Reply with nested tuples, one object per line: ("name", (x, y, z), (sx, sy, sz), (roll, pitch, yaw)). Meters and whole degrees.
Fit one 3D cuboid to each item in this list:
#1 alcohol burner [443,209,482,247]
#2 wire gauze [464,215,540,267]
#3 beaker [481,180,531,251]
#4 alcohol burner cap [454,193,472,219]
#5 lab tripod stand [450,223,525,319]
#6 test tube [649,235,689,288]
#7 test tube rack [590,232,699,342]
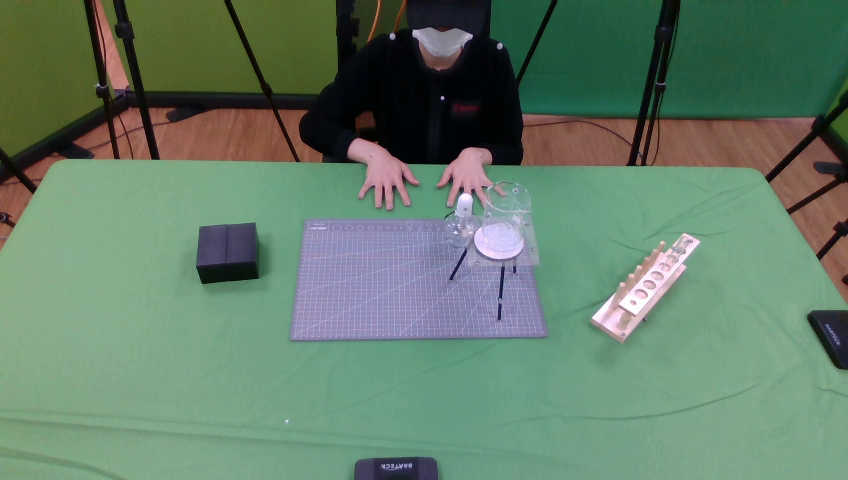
("alcohol burner", (0.075, -0.043, 1.177), (0.078, 0.120, 0.077), (1, 45, -1))
("wire gauze", (0.131, -0.001, 1.035), (0.121, 0.011, 0.124), (1, 44, -3))
("beaker", (0.135, -0.036, 1.001), (0.083, 0.101, 0.074), (30, 53, 24))
("alcohol burner cap", (0.076, -0.068, 1.151), (0.034, 0.048, 0.033), (4, 46, -4))
("lab tripod stand", (0.120, 0.046, 1.080), (0.148, 0.132, 0.147), (1, 47, -1))
("test tube", (0.432, 0.043, 1.073), (0.017, 0.151, 0.017), (3, 51, -3))
("test tube rack", (0.407, 0.074, 1.112), (0.066, 0.085, 0.242), (35, 53, 26))
